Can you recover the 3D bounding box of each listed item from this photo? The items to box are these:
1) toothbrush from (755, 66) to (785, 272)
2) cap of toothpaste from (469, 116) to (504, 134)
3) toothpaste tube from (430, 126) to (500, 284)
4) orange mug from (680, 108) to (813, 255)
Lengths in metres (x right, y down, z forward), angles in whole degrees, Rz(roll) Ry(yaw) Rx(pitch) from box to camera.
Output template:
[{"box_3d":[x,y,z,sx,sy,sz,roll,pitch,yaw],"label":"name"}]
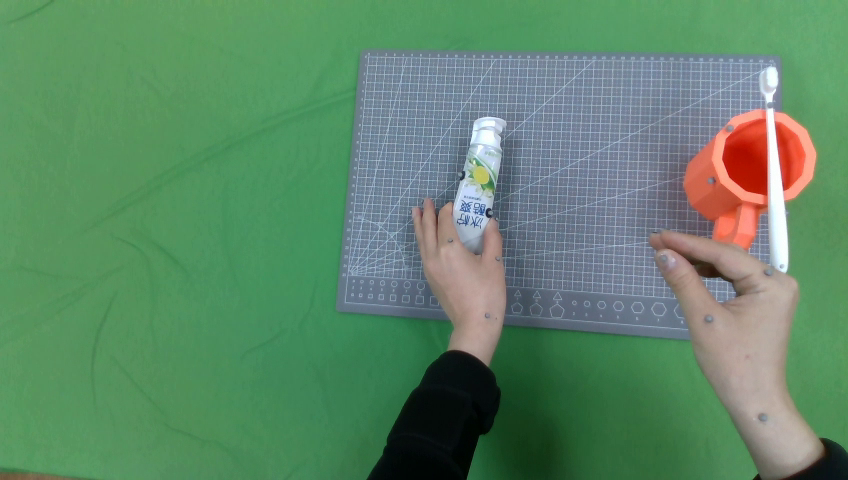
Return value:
[{"box_3d":[0.298,-0.063,0.519,0.014,0.017,0.181,0,82,5],"label":"toothbrush"},{"box_3d":[0.066,-0.120,0.635,0.037,0.037,0.011,-2,77,8],"label":"cap of toothpaste"},{"box_3d":[0.048,-0.040,0.630,0.055,0.035,0.165,10,86,14],"label":"toothpaste tube"},{"box_3d":[0.296,-0.050,0.571,0.083,0.101,0.126,12,79,10],"label":"orange mug"}]
